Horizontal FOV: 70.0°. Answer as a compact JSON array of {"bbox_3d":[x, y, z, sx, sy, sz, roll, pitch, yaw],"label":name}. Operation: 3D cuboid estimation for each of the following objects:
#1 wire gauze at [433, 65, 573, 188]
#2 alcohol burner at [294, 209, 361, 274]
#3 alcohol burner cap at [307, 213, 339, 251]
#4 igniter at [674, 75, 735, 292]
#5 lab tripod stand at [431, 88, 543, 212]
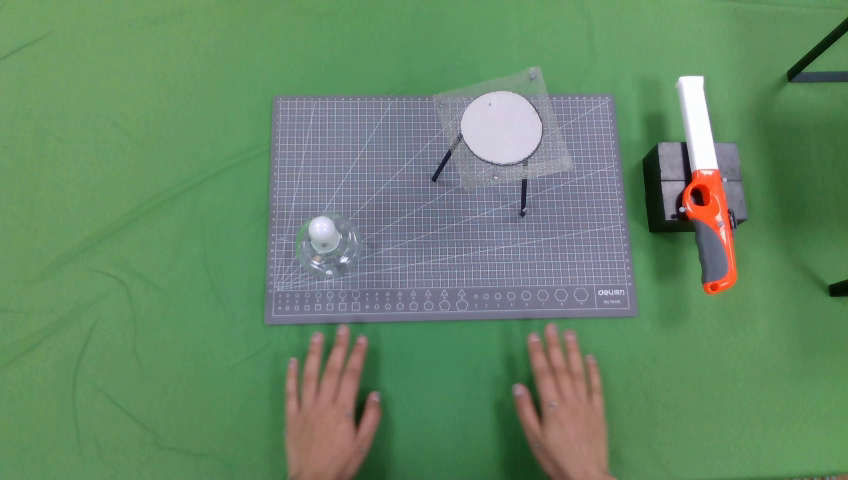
[{"bbox_3d":[0.084,-0.121,0.646,0.125,0.011,0.121,-14,76,-6],"label":"wire gauze"},{"bbox_3d":[-0.111,-0.002,0.687,0.078,0.119,0.077,1,77,-3],"label":"alcohol burner"},{"bbox_3d":[-0.111,-0.011,0.652,0.034,0.048,0.033,0,71,-1],"label":"alcohol burner cap"},{"bbox_3d":[0.333,-0.073,0.723,0.057,0.025,0.275,0,73,0],"label":"igniter"},{"bbox_3d":[0.082,-0.111,0.713,0.148,0.132,0.147,0,74,-1],"label":"lab tripod stand"}]
